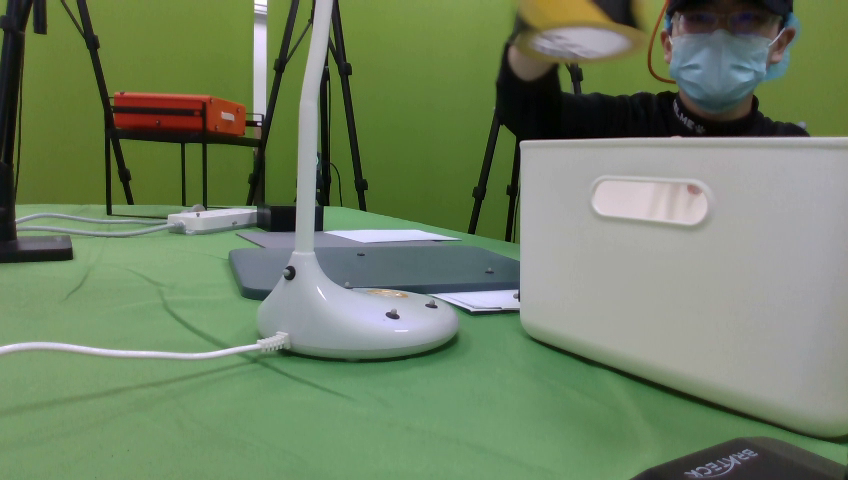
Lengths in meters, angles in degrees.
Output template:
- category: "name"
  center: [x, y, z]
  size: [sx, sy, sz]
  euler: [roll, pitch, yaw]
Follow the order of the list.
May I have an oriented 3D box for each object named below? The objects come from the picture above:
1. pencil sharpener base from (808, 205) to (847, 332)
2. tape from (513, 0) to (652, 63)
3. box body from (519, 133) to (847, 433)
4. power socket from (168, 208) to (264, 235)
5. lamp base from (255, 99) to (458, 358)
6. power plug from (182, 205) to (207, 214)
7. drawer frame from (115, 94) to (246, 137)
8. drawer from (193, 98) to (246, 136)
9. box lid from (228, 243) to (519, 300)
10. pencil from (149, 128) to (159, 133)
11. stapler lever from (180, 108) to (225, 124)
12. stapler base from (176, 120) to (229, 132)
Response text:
- category: "pencil sharpener base"
  center: [0.386, 0.026, 0.519]
  size: [0.062, 0.107, 0.076]
  euler: [-4, 11, -43]
- category: "tape"
  center: [0.133, -0.190, 0.509]
  size: [0.117, 0.052, 0.117]
  euler: [2, 0, 0]
- category: "box body"
  center: [0.279, 0.005, 0.485]
  size: [0.366, 0.160, 0.253]
  euler: [-3, 9, -36]
- category: "power socket"
  center: [-0.381, -0.038, 1.129]
  size: [0.072, 0.032, 0.227]
  euler: [4, 8, 17]
- category: "lamp base"
  center: [-0.056, -0.013, 0.462]
  size: [0.160, 0.180, 0.180]
  euler: [6, 11, 27]
- category: "power plug"
  center: [-0.455, -0.041, 1.196]
  size: [0.052, 0.035, 0.072]
  euler: [1, 41, 23]
- category: "drawer frame"
  center: [-0.543, -0.281, 1.374]
  size: [0.213, 0.082, 0.201]
  euler: [2, 8, 4]
- category: "drawer"
  center: [-0.539, -0.279, 1.374]
  size: [0.212, 0.073, 0.194]
  euler: [2, 8, 5]
- category: "box lid"
  center: [-0.044, 0.033, 0.757]
  size: [0.373, 0.015, 0.262]
  euler: [-1, 9, -22]
- category: "pencil"
  center: [-0.528, -0.258, 1.361]
  size: [0.012, 0.012, 0.195]
  euler: [8, 20, 35]
- category: "stapler lever"
  center: [-0.496, -0.281, 1.359]
  size: [0.027, 0.040, 0.118]
  euler: [2, 7, 22]
- category: "stapler base"
  center: [-0.496, -0.257, 1.364]
  size: [0.041, 0.024, 0.131]
  euler: [2, 9, 22]
